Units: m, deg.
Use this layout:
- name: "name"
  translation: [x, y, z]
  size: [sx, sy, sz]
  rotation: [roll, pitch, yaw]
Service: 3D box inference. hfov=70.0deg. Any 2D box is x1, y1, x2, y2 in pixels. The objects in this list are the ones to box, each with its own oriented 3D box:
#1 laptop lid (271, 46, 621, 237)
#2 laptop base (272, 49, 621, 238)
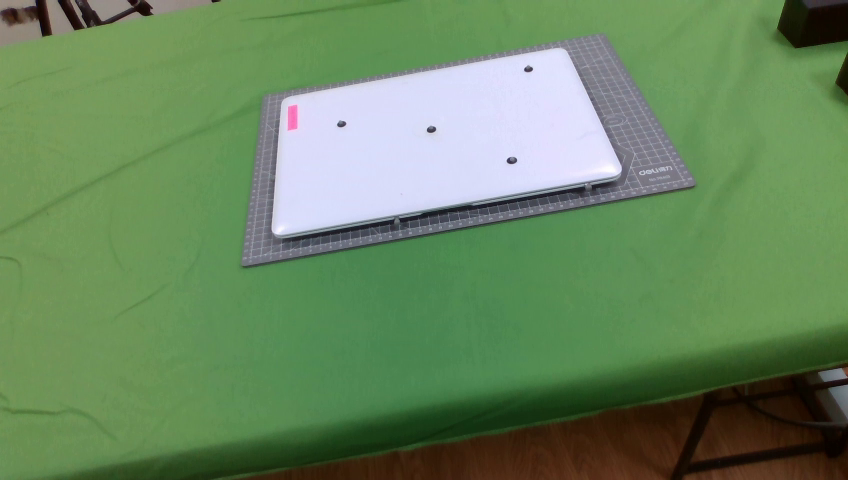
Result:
- name: "laptop lid"
  translation: [0.009, -0.119, 0.664]
  size: [0.357, 0.013, 0.239]
  rotation: [-9, 49, 3]
- name: "laptop base"
  translation: [0.010, -0.113, 0.674]
  size: [0.354, 0.023, 0.233]
  rotation: [-10, 50, 2]
